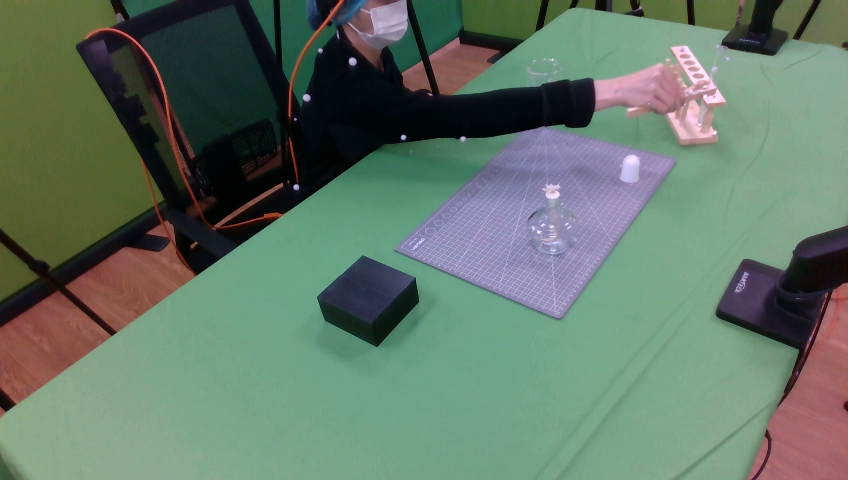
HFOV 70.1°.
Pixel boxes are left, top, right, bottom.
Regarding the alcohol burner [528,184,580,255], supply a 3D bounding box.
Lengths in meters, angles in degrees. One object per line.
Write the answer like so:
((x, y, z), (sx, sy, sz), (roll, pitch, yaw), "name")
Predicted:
((0.196, -0.036, 0.911), (0.078, 0.119, 0.077), (-6, 41, 5), "alcohol burner")

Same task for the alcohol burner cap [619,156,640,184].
((0.358, -0.124, 1.047), (0.034, 0.048, 0.033), (-4, 40, 4), "alcohol burner cap")

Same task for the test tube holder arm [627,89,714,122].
((0.419, -0.229, 1.025), (0.179, 0.015, 0.013), (-19, 35, -18), "test tube holder arm")

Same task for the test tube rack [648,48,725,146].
((0.508, -0.285, 1.186), (0.067, 0.085, 0.241), (-4, 40, 6), "test tube rack")

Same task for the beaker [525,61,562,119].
((0.248, -0.308, 1.246), (0.073, 0.101, 0.084), (29, 52, 36), "beaker")

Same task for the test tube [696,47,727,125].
((0.519, -0.276, 1.094), (0.017, 0.151, 0.017), (-1, 42, 2), "test tube")

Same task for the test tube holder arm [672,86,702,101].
((0.454, -0.248, 1.046), (0.088, 0.015, 0.010), (-31, 42, -32), "test tube holder arm")
